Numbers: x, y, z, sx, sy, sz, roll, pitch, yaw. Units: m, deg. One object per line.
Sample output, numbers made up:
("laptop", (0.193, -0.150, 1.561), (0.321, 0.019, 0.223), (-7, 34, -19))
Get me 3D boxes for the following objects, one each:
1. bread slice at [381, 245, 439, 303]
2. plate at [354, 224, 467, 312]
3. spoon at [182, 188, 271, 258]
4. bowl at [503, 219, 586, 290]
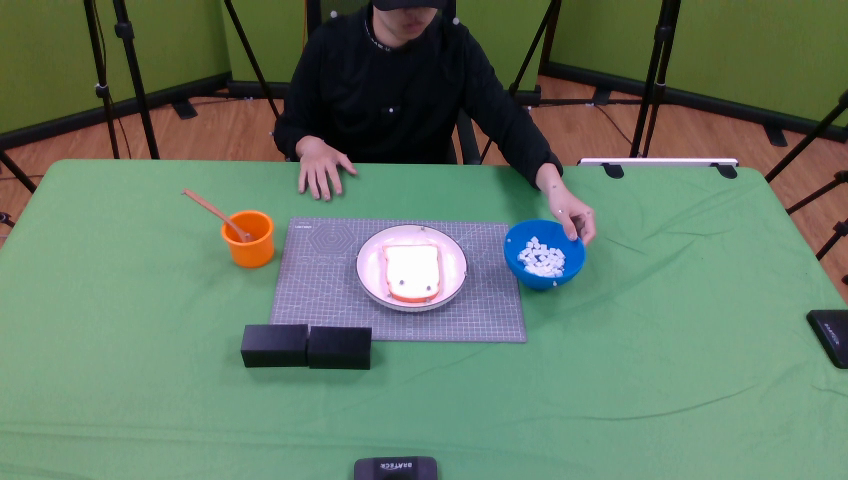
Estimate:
("bread slice", (-0.022, 0.061, 1.126), (0.107, 0.018, 0.133), (-3, 45, -8))
("plate", (-0.025, 0.055, 1.128), (0.209, 0.038, 0.208), (3, 46, -2))
("spoon", (-0.361, -0.032, 1.113), (0.021, 0.194, 0.041), (-26, 30, 35))
("bowl", (0.216, 0.039, 1.123), (0.151, 0.077, 0.150), (2, 46, -2))
